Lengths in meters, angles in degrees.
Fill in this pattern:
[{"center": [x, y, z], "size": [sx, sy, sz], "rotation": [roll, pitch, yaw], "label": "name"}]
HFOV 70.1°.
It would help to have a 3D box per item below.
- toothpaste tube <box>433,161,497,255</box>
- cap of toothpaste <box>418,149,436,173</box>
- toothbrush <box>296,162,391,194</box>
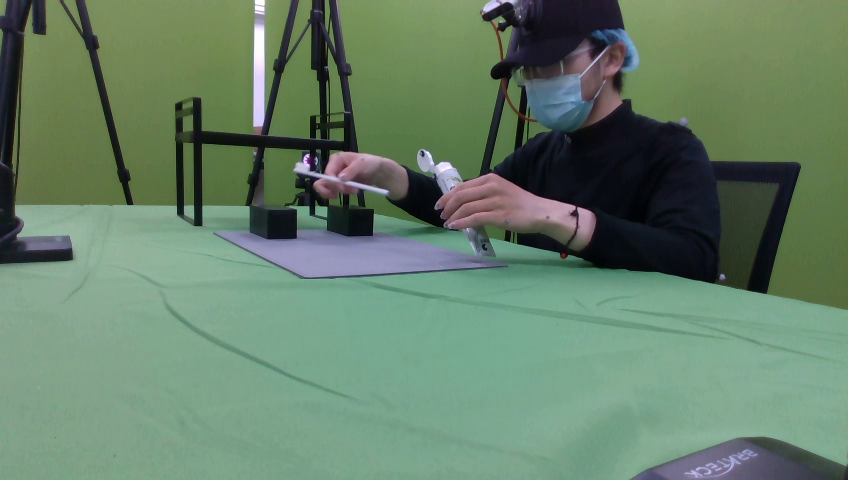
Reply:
[{"center": [0.056, -0.049, 0.884], "size": [0.055, 0.164, 0.034], "rotation": [-1, -33, -47], "label": "toothpaste tube"}, {"center": [0.005, -0.119, 0.909], "size": [0.011, 0.037, 0.037], "rotation": [-21, 19, -30], "label": "cap of toothpaste"}, {"center": [-0.133, -0.104, 1.035], "size": [0.183, 0.016, 0.014], "rotation": [13, -3, -35], "label": "toothbrush"}]
